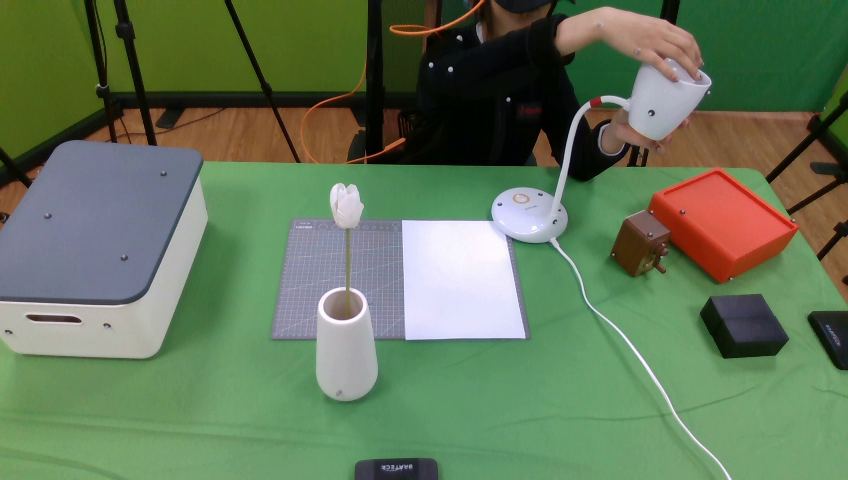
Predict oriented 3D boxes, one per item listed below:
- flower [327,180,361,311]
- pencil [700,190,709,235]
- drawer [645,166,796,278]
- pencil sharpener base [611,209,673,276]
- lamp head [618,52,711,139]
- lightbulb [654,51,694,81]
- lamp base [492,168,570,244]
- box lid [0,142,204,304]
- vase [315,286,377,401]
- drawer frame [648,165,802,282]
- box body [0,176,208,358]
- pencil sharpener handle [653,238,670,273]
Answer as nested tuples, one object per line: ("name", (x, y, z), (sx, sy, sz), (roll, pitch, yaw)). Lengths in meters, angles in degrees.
("flower", (-0.110, 0.086, 0.867), (0.044, 0.363, 0.038), (22, 33, 35))
("pencil", (0.583, -0.058, 1.257), (0.012, 0.012, 0.193), (16, 35, 12))
("drawer", (0.600, -0.041, 1.236), (0.195, 0.073, 0.210), (-21, 51, -23))
("pencil sharpener base", (0.416, 0.007, 1.158), (0.061, 0.107, 0.076), (-21, 51, -22))
("lamp head", (0.377, -0.228, 0.979), (0.112, 0.123, 0.111), (14, 39, -11))
("lightbulb", (0.383, -0.251, 0.969), (0.060, 0.108, 0.059), (24, 33, -16))
("lamp base", (0.234, -0.101, 1.200), (0.161, 0.181, 0.178), (-24, 55, -25))
("box lid", (-0.534, -0.044, 0.995), (0.263, 0.015, 0.369), (3, 45, -3))
("vase", (-0.119, 0.159, 0.911), (0.098, 0.201, 0.097), (2, 47, -2))
("drawer frame", (0.603, -0.040, 1.234), (0.202, 0.083, 0.212), (-21, 51, -23))
("box body", (-0.546, 0.017, 1.045), (0.254, 0.161, 0.361), (2, 46, -2))
("pencil sharpener handle", (0.444, 0.030, 1.120), (0.036, 0.068, 0.030), (-25, 52, -18))
